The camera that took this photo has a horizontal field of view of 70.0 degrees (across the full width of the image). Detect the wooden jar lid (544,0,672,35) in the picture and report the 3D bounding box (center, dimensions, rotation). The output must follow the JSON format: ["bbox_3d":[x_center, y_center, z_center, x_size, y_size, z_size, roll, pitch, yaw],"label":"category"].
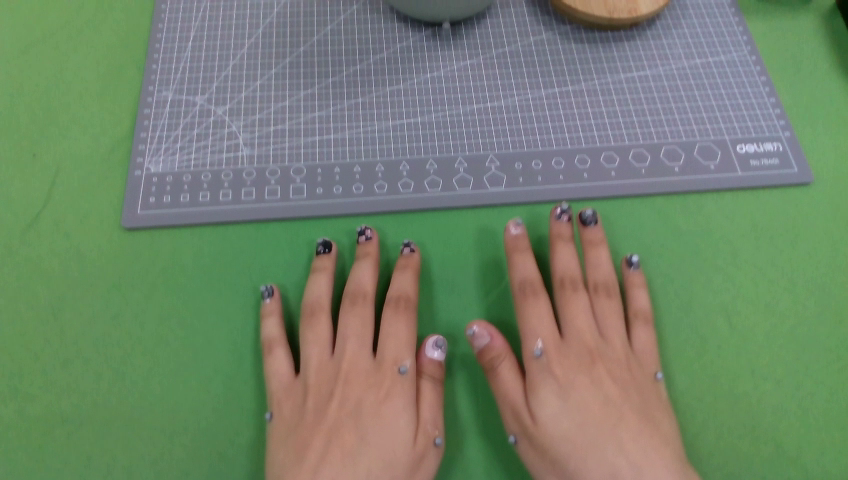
[{"bbox_3d":[0.140,-0.200,0.475,0.108,0.021,0.107,1,62,-1],"label":"wooden jar lid"}]

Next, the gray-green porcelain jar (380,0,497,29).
[{"bbox_3d":[0.011,-0.223,0.422,0.106,0.127,0.105,1,62,-1],"label":"gray-green porcelain jar"}]
